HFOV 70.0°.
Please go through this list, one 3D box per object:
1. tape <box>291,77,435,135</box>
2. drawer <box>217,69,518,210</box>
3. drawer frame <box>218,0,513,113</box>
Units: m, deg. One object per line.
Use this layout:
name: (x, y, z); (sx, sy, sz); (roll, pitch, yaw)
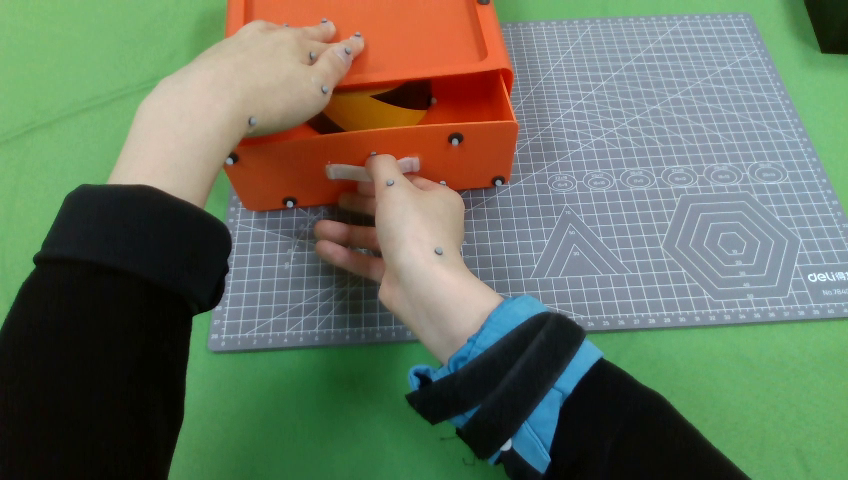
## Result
tape: (-0.049, -0.134, 0.472); (0.117, 0.053, 0.116); (0, 60, 1)
drawer: (-0.046, -0.133, 0.463); (0.194, 0.074, 0.209); (-6, 59, -2)
drawer frame: (-0.050, -0.173, 0.486); (0.202, 0.083, 0.211); (-7, 59, -3)
